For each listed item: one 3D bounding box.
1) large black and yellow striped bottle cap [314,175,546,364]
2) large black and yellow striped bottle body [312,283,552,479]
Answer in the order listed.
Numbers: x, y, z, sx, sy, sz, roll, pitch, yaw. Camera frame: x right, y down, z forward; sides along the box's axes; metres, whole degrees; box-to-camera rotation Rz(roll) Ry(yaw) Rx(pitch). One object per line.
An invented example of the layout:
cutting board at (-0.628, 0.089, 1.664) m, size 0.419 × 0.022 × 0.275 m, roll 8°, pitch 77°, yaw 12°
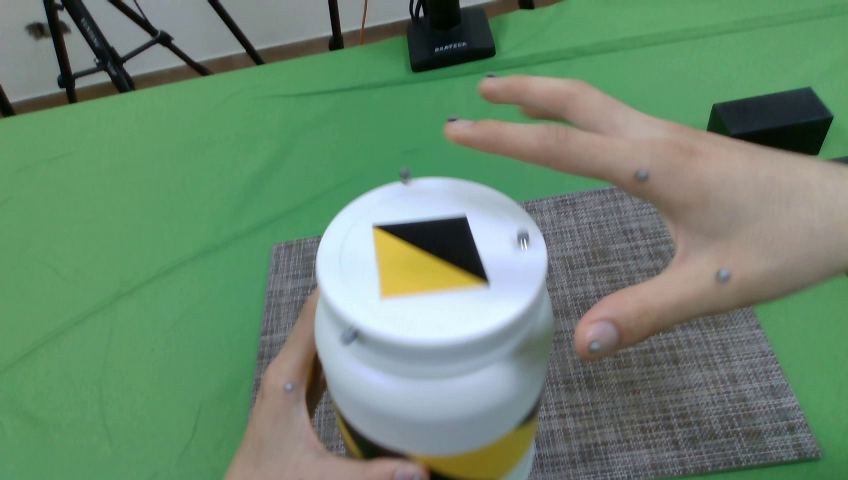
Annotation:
large black and yellow striped bottle cap at (0.003, 0.009, 0.302) m, size 0.115 × 0.019 × 0.114 m, roll -2°, pitch 45°, yaw 2°
large black and yellow striped bottle body at (0.006, 0.070, 0.362) m, size 0.131 × 0.186 × 0.129 m, roll -1°, pitch 45°, yaw 2°
